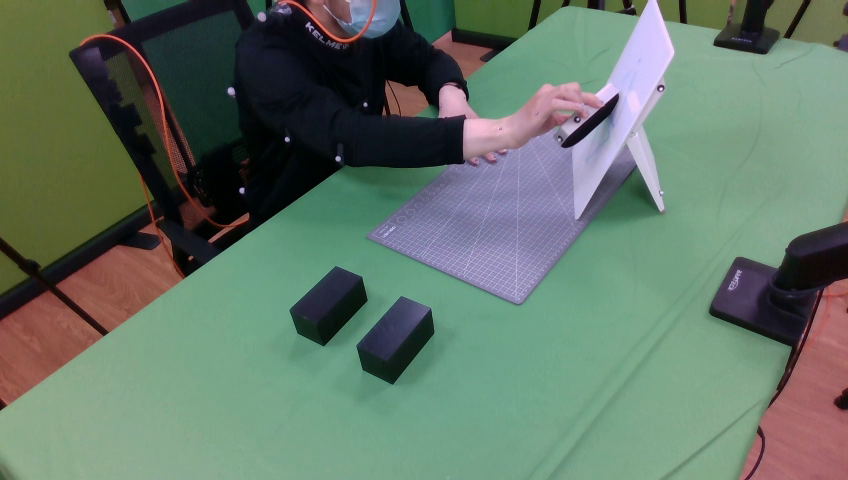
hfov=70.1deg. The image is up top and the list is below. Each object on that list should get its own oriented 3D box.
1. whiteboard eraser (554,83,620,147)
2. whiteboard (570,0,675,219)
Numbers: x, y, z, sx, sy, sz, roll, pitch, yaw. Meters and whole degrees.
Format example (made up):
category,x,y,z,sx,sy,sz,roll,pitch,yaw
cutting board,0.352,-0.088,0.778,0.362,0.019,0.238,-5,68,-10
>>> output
category,x,y,z,sx,sy,sz,roll,pitch,yaw
whiteboard eraser,0.261,-0.195,0.958,0.113,0.055,0.042,-42,84,-8
whiteboard,0.363,-0.187,0.965,0.144,0.305,0.216,18,42,-3
